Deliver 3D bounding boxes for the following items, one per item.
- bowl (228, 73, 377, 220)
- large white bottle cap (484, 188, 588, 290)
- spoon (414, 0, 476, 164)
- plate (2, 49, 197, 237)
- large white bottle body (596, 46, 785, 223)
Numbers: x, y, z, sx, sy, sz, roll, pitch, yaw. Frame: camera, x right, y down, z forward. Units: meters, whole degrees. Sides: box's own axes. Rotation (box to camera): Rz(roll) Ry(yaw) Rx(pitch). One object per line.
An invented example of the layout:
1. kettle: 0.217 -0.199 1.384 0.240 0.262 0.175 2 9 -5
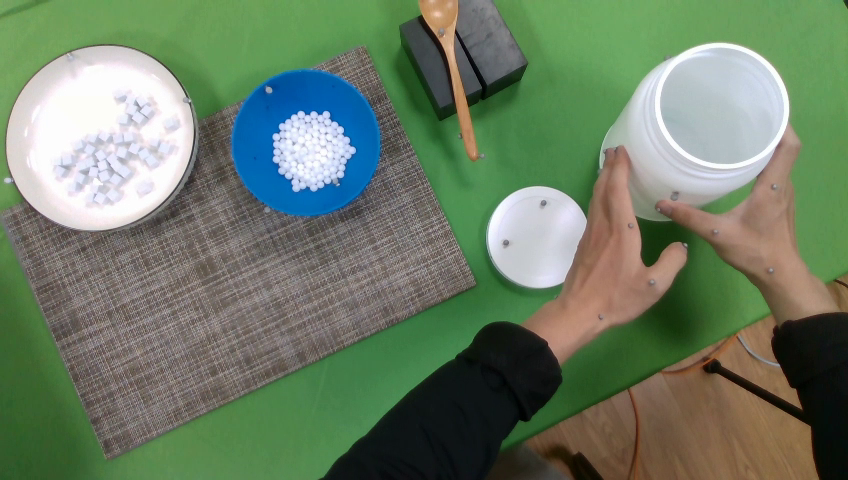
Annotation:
1. bowl: -0.122 -0.092 0.646 0.151 0.077 0.151 0 87 0
2. large white bottle cap: 0.125 -0.001 0.676 0.115 0.018 0.114 0 86 -1
3. spoon: 0.027 -0.175 0.639 0.042 0.021 0.193 -13 91 -7
4. plate: -0.349 -0.104 0.666 0.209 0.038 0.208 0 84 1
5. large white bottle body: 0.247 -0.095 0.584 0.130 0.185 0.130 -1 82 5
